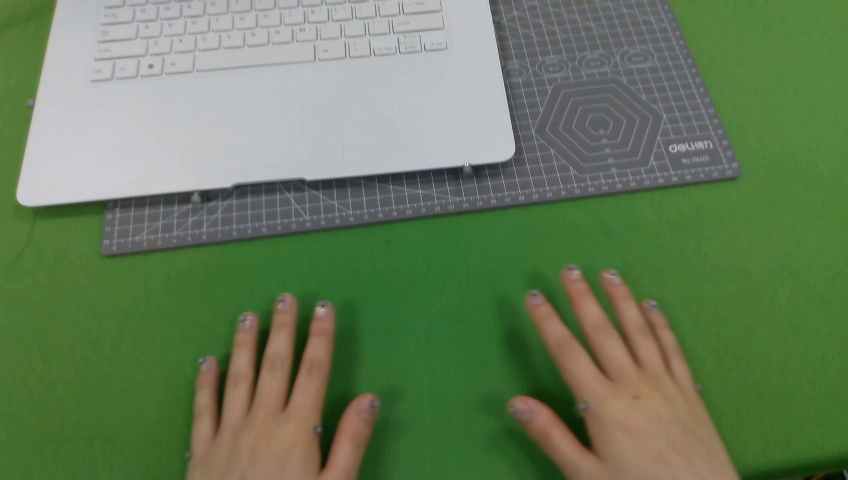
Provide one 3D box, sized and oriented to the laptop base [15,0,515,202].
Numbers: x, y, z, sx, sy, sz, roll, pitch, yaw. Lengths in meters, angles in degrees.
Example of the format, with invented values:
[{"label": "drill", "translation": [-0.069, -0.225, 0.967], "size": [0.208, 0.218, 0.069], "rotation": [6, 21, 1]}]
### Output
[{"label": "laptop base", "translation": [-0.120, -0.145, 0.475], "size": [0.354, 0.023, 0.233], "rotation": [-6, 68, -2]}]
